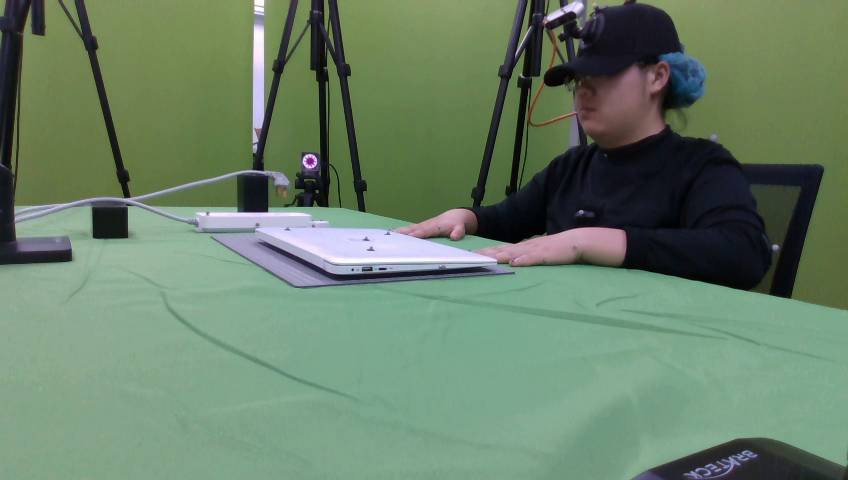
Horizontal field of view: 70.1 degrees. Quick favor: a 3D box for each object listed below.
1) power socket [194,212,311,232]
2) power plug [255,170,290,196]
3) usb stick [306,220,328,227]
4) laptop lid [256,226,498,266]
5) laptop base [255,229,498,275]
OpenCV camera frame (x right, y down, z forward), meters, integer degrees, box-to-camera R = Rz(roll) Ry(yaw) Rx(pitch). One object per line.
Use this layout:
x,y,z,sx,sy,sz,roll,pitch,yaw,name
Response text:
-0.322,-0.037,1.153,0.228,0.032,0.072,-2,8,-34,power socket
-0.322,-0.119,1.285,0.073,0.052,0.035,2,-13,-13,power plug
-0.194,-0.020,1.075,0.021,0.027,0.059,5,10,22,usb stick
-0.085,0.004,0.878,0.243,0.013,0.355,1,7,-29,laptop lid
-0.088,0.016,0.878,0.237,0.023,0.352,2,6,-31,laptop base
